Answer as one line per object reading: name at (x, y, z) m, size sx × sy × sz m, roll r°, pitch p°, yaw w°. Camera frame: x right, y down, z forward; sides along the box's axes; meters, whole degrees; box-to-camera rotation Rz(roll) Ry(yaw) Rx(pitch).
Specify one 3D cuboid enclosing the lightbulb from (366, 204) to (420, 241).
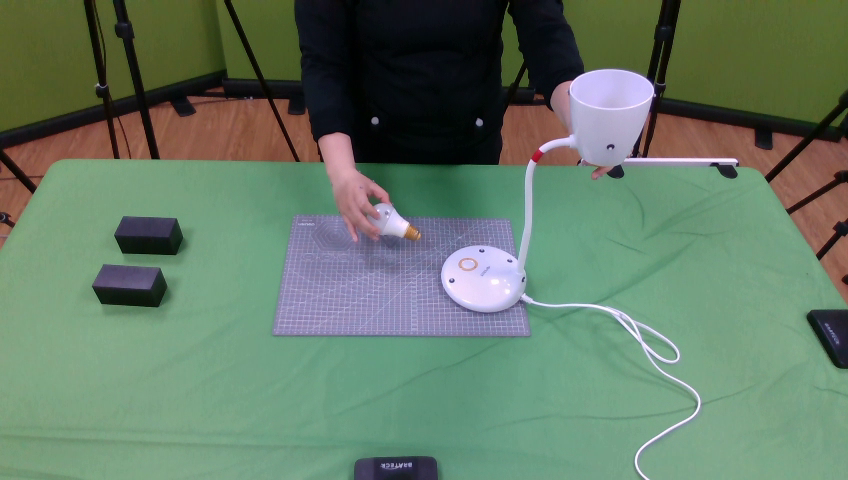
lightbulb at (-0.057, -0.028, 1.133) m, size 0.108 × 0.060 × 0.059 m, roll 25°, pitch 47°, yaw -2°

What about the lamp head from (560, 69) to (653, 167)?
lamp head at (0.254, -0.166, 0.863) m, size 0.112 × 0.123 × 0.111 m, roll 0°, pitch 42°, yaw 0°

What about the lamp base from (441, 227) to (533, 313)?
lamp base at (0.126, 0.021, 1.072) m, size 0.179 × 0.181 × 0.160 m, roll 23°, pitch 49°, yaw 13°
